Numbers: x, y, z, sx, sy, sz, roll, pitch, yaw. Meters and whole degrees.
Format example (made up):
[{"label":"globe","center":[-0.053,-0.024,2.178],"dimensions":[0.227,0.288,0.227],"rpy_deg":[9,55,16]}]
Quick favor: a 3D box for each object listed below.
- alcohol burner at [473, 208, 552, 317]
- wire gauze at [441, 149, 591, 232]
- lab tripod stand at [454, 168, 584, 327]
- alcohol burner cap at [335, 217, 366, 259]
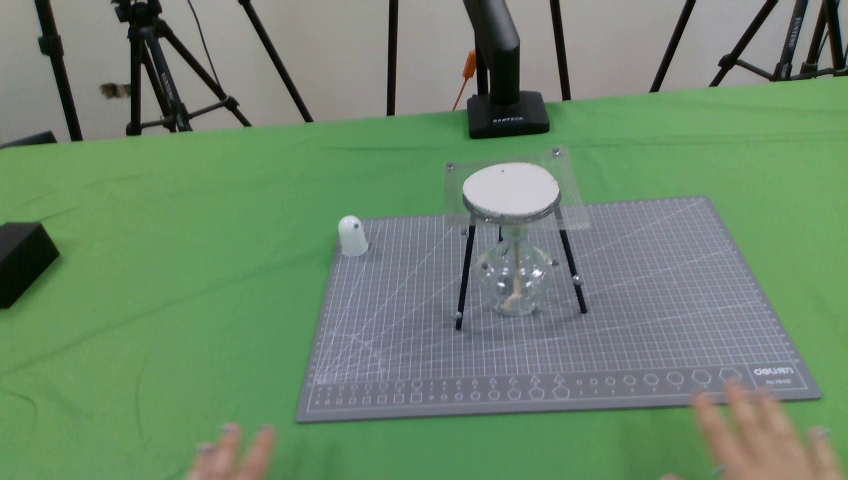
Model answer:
[{"label":"alcohol burner","center":[0.087,0.017,0.594],"dimensions":[0.078,0.120,0.077],"rpy_deg":[-3,38,3]},{"label":"wire gauze","center":[0.077,-0.045,0.548],"dimensions":[0.125,0.011,0.120],"rpy_deg":[-3,38,3]},{"label":"lab tripod stand","center":[0.087,0.007,0.590],"dimensions":[0.148,0.133,0.147],"rpy_deg":[-3,37,3]},{"label":"alcohol burner cap","center":[-0.087,-0.006,0.708],"dimensions":[0.034,0.048,0.033],"rpy_deg":[-4,40,3]}]
